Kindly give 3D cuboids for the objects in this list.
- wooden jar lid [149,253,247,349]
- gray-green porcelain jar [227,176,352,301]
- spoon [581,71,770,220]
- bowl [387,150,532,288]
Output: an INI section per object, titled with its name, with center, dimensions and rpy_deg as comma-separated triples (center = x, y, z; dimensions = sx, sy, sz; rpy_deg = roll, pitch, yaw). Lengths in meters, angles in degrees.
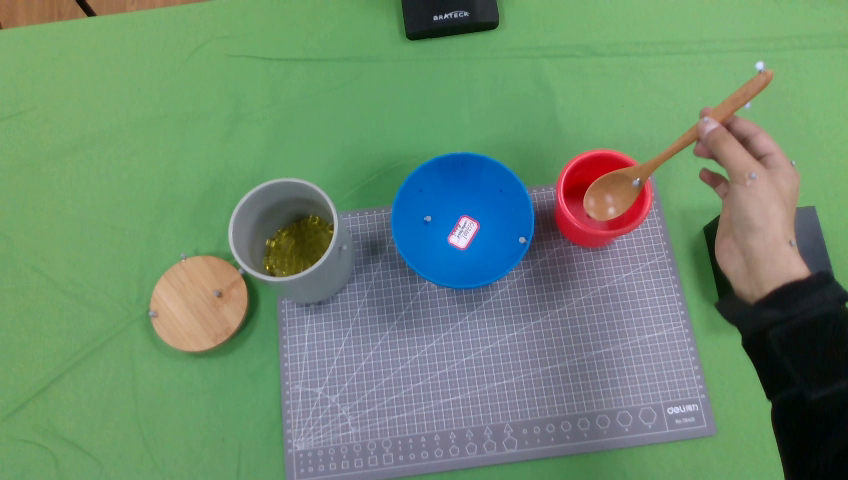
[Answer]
[wooden jar lid]
center = -0.252, 0.069, 0.681
dimensions = 0.108, 0.021, 0.108
rpy_deg = -1, 74, 3
[gray-green porcelain jar]
center = -0.134, 0.005, 0.636
dimensions = 0.106, 0.127, 0.105
rpy_deg = 0, 73, 2
[spoon]
center = 0.211, -0.076, 0.525
dimensions = 0.021, 0.194, 0.041
rpy_deg = -32, 82, -43
[bowl]
center = 0.038, -0.014, 0.661
dimensions = 0.151, 0.077, 0.150
rpy_deg = -1, 74, 2
